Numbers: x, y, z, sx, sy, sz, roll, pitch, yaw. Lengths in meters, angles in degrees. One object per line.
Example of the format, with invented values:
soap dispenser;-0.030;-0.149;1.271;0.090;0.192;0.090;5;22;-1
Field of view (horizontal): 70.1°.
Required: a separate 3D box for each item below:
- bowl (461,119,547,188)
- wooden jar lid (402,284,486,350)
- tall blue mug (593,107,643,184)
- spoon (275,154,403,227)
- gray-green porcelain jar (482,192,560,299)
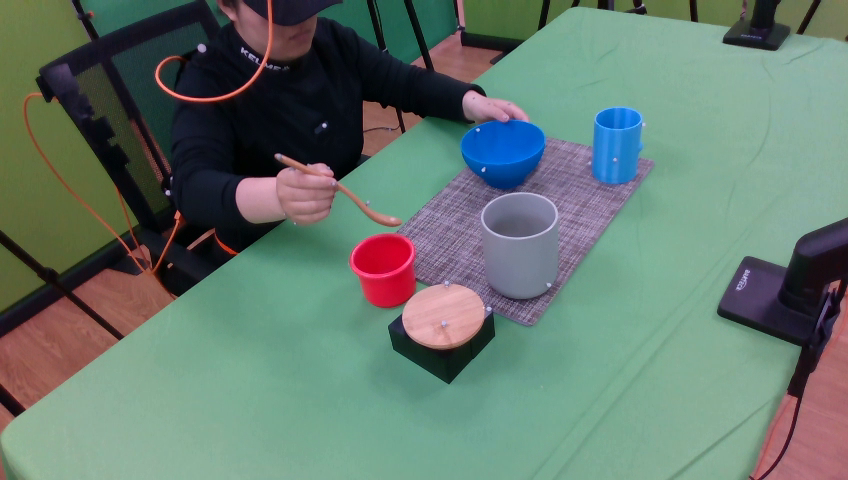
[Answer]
bowl;0.144;-0.146;1.082;0.151;0.077;0.150;-6;40;5
wooden jar lid;0.026;0.101;0.786;0.108;0.021;0.108;-5;39;4
tall blue mug;0.330;-0.172;1.052;0.078;0.108;0.106;-12;40;0
spoon;-0.109;-0.065;0.801;0.021;0.195;0.041;-55;26;5
gray-green porcelain jar;0.138;0.012;0.858;0.106;0.127;0.105;-6;40;5
